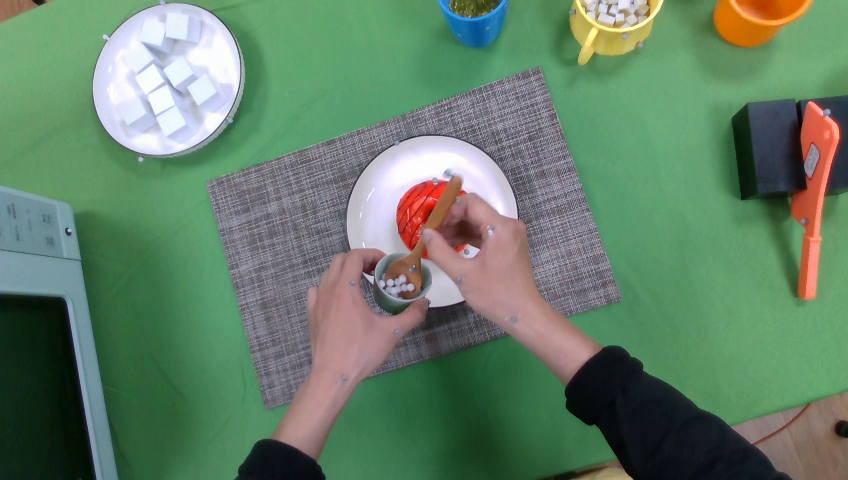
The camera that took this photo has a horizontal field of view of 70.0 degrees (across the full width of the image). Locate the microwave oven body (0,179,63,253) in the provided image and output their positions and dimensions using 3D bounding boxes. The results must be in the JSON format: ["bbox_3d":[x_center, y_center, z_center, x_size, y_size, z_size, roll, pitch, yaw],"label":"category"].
[{"bbox_3d":[-0.583,0.176,0.671,0.326,0.261,0.440,-15,83,6],"label":"microwave oven body"}]

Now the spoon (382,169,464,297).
[{"bbox_3d":[-0.001,0.000,0.571,0.041,0.194,0.021,38,53,6],"label":"spoon"}]

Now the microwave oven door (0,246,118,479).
[{"bbox_3d":[-0.434,0.180,0.645,0.039,0.245,0.354,-15,82,6],"label":"microwave oven door"}]

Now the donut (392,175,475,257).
[{"bbox_3d":[0.011,-0.028,0.712,0.099,0.048,0.099,-1,84,9],"label":"donut"}]

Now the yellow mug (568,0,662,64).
[{"bbox_3d":[0.214,-0.265,0.710,0.099,0.064,0.131,31,90,10],"label":"yellow mug"}]

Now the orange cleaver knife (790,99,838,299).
[{"bbox_3d":[0.411,-0.041,0.650,0.012,0.077,0.212,-3,113,10],"label":"orange cleaver knife"}]

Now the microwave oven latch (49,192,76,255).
[{"bbox_3d":[-0.469,-0.020,0.774,0.030,0.029,0.079,-12,83,6],"label":"microwave oven latch"}]

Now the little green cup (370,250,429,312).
[{"bbox_3d":[-0.028,0.045,0.639,0.062,0.039,0.061,7,54,-9],"label":"little green cup"}]

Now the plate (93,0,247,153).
[{"bbox_3d":[-0.327,-0.212,0.794,0.207,0.039,0.207,-1,84,8],"label":"plate"}]

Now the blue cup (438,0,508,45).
[{"bbox_3d":[0.060,-0.279,0.715,0.092,0.100,0.092,-1,85,7],"label":"blue cup"}]

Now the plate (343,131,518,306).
[{"bbox_3d":[0.008,-0.025,0.723,0.209,0.038,0.208,-1,84,8],"label":"plate"}]
